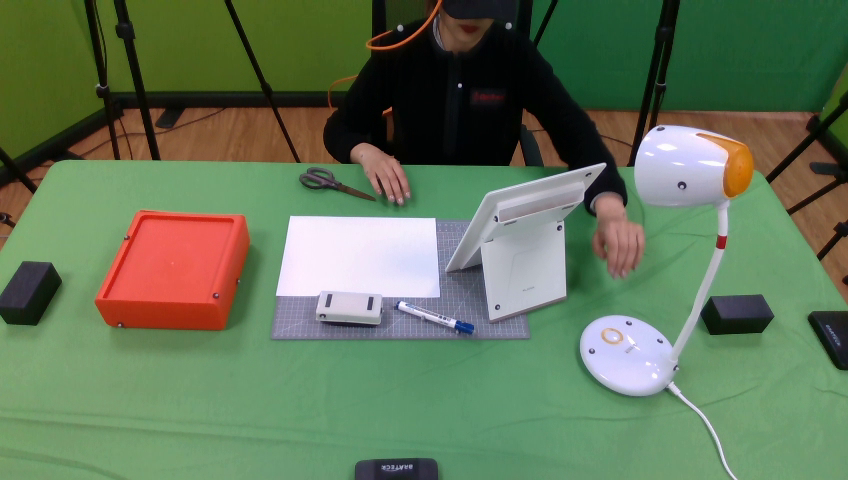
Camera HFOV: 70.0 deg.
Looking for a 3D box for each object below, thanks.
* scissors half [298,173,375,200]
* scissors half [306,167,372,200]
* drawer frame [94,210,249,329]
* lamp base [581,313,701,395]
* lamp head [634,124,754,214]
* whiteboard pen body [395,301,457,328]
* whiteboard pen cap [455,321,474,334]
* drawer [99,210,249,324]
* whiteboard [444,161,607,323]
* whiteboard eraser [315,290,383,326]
[{"bbox_3d":[-0.188,-0.110,1.296,0.175,0.013,0.040,15,42,6],"label":"scissors half"},{"bbox_3d":[-0.180,-0.121,1.311,0.174,0.013,0.040,27,39,18],"label":"scissors half"},{"bbox_3d":[-0.435,0.048,1.076,0.202,0.083,0.212,2,47,-3],"label":"drawer frame"},{"bbox_3d":[0.361,0.144,0.972,0.178,0.181,0.160,34,53,23],"label":"lamp base"},{"bbox_3d":[0.351,-0.089,0.775,0.112,0.113,0.122,-30,30,-28],"label":"lamp head"},{"bbox_3d":[0.015,0.134,1.064,0.140,0.017,0.017,17,47,16],"label":"whiteboard pen body"},{"bbox_3d":[0.069,0.151,1.046,0.033,0.018,0.018,14,47,16],"label":"whiteboard pen cap"},{"bbox_3d":[-0.435,0.044,1.081,0.194,0.073,0.210,3,47,-2],"label":"drawer"},{"bbox_3d":[0.186,0.025,1.029,0.217,0.306,0.143,-14,68,-18],"label":"whiteboard"},{"bbox_3d":[-0.130,0.120,1.054,0.113,0.042,0.055,4,47,0],"label":"whiteboard eraser"}]
